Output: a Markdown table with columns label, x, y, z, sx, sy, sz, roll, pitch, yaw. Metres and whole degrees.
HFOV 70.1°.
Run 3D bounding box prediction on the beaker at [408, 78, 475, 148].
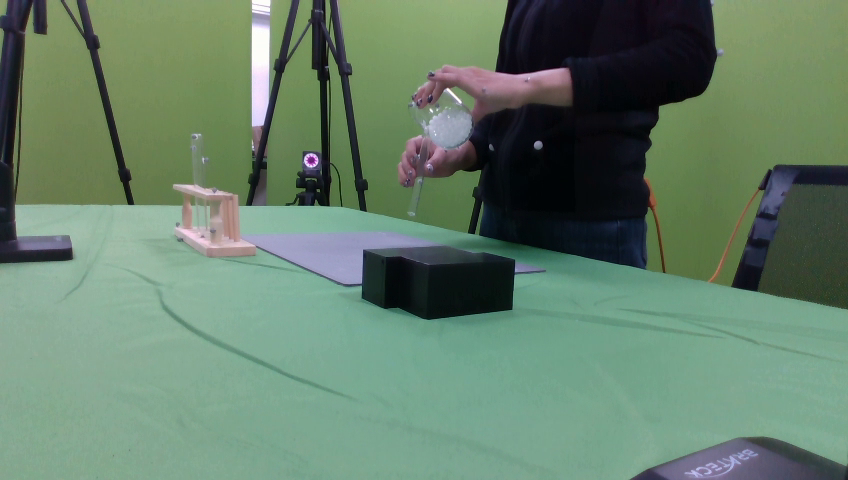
| label | x | y | z | sx | sy | sz | roll | pitch | yaw |
| --- | --- | --- | --- | --- | --- | --- | --- | --- | --- |
| beaker | 0.026 | -0.183 | 0.889 | 0.074 | 0.084 | 0.100 | -5 | 33 | -18 |

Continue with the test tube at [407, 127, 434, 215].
| label | x | y | z | sx | sy | sz | roll | pitch | yaw |
| --- | --- | --- | --- | --- | --- | --- | --- | --- | --- |
| test tube | -0.007 | -0.109 | 0.975 | 0.017 | 0.150 | 0.017 | 11 | 25 | -5 |

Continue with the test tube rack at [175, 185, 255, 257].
| label | x | y | z | sx | sy | sz | roll | pitch | yaw |
| --- | --- | --- | --- | --- | --- | --- | --- | --- | --- |
| test tube rack | -0.324 | -0.035 | 0.922 | 0.067 | 0.085 | 0.241 | -2 | 9 | -31 |

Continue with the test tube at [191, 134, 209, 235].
| label | x | y | z | sx | sy | sz | roll | pitch | yaw |
| --- | --- | --- | --- | --- | --- | --- | --- | --- | --- |
| test tube | -0.332 | -0.082 | 0.898 | 0.017 | 0.150 | 0.017 | -2 | 6 | 0 |
